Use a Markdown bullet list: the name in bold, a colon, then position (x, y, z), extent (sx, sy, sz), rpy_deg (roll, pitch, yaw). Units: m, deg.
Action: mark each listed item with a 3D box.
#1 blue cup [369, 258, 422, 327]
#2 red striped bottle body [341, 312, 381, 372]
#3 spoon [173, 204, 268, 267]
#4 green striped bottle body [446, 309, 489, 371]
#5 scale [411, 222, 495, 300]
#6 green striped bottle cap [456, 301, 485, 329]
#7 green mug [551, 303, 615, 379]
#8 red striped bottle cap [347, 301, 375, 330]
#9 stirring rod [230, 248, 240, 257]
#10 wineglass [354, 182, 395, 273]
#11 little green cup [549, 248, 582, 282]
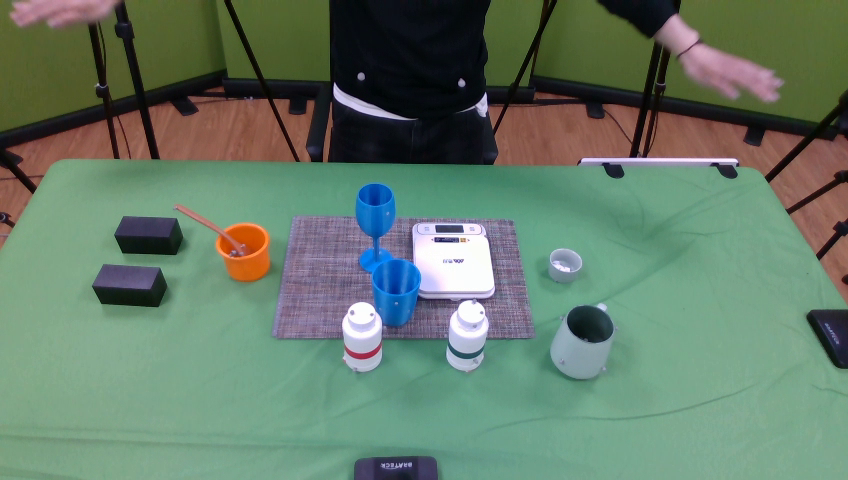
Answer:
- **blue cup**: position (-0.051, 0.097, 1.039), extent (0.093, 0.101, 0.092), rpy_deg (3, 43, -2)
- **red striped bottle body**: position (-0.100, 0.154, 0.972), extent (0.063, 0.120, 0.062), rpy_deg (2, 46, -2)
- **spoon**: position (-0.363, -0.009, 1.089), extent (0.021, 0.195, 0.041), rpy_deg (-35, 31, 23)
- **green striped bottle body**: position (0.070, 0.155, 0.984), extent (0.063, 0.120, 0.063), rpy_deg (2, 46, -2)
- **scale**: position (0.052, 0.031, 1.158), extent (0.149, 0.032, 0.199), rpy_deg (1, 46, -4)
- **green striped bottle cap**: position (0.073, 0.116, 0.943), extent (0.044, 0.020, 0.044), rpy_deg (3, 46, -3)
- **green mug**: position (0.271, 0.157, 1.007), extent (0.092, 0.105, 0.125), rpy_deg (27, 50, 21)
- **red striped bottle cap**: position (-0.097, 0.116, 0.934), extent (0.044, 0.018, 0.044), rpy_deg (3, 49, -3)
- **stirring rod**: position (-0.330, 0.023, 1.059), extent (0.014, 0.176, 0.006), rpy_deg (33, 79, -11)
- **wineglass**: position (-0.089, -0.020, 1.098), extent (0.074, 0.173, 0.073), rpy_deg (2, 46, -2)
- **little green cup**: position (0.267, 0.050, 1.156), extent (0.061, 0.039, 0.061), rpy_deg (2, 46, -1)
